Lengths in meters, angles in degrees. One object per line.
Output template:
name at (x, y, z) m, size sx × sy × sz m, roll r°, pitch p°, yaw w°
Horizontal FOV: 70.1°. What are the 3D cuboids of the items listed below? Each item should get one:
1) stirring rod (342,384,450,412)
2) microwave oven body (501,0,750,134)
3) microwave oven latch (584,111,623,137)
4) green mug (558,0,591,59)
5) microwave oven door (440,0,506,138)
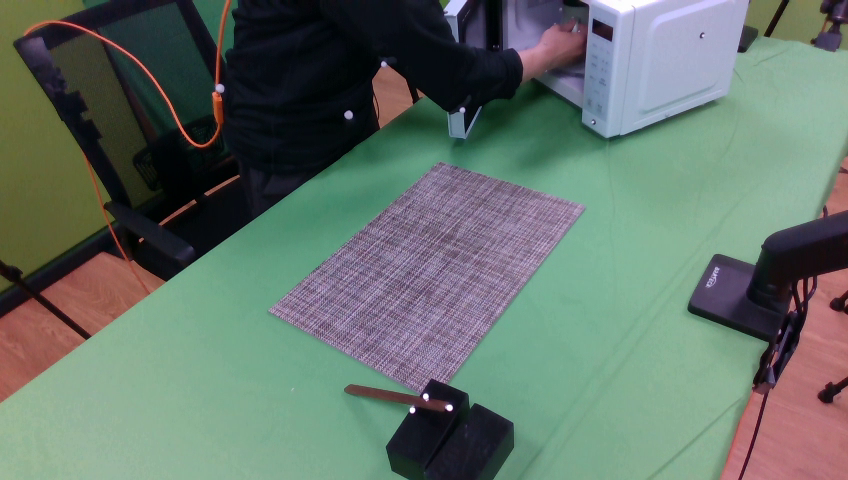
stirring rod at (-0.037, 0.185, 0.714) m, size 0.175 × 0.006 × 0.014 m, roll -3°, pitch 22°, yaw 43°
microwave oven body at (0.382, -0.445, 1.246) m, size 0.327 × 0.261 × 0.437 m, roll -22°, pitch 42°, yaw -16°
microwave oven latch at (0.337, -0.222, 1.142) m, size 0.030 × 0.029 × 0.078 m, roll -21°, pitch 42°, yaw -14°
green mug at (0.321, -0.431, 1.250) m, size 0.092 × 0.105 × 0.125 m, roll 12°, pitch 43°, yaw 22°
microwave oven door at (0.108, -0.406, 1.231) m, size 0.039 × 0.245 × 0.355 m, roll 7°, pitch 43°, yaw 18°
